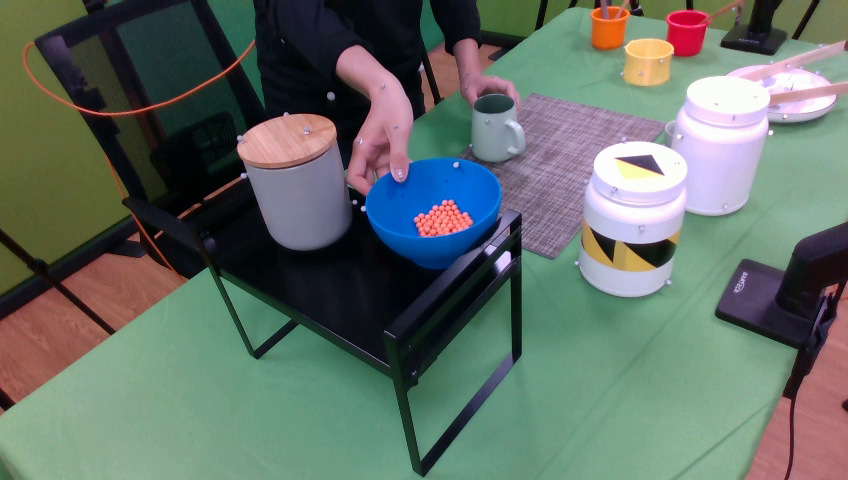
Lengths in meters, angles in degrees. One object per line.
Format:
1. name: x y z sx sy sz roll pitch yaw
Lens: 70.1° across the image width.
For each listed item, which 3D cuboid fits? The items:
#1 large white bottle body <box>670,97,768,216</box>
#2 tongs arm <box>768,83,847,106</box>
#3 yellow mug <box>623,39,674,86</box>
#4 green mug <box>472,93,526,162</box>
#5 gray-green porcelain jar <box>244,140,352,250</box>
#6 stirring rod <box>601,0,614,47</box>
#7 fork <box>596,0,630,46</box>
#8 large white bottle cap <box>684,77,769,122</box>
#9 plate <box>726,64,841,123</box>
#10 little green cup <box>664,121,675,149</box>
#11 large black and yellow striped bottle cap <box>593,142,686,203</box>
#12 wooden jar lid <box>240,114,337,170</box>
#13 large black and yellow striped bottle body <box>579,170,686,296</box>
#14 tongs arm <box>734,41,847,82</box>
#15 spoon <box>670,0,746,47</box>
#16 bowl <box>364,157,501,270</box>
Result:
1. large white bottle body: 0.458 -0.146 0.952 0.130 0.185 0.130 -4 40 4
2. tongs arm: 0.738 -0.282 1.134 0.388 0.028 0.028 -9 47 -5
3. yellow mug: 0.485 -0.398 1.334 0.100 0.064 0.130 -18 41 -10
4. green mug: 0.144 -0.202 1.122 0.093 0.105 0.124 -29 45 -23
5. gray-green porcelain jar: -0.144 -0.060 0.714 0.106 0.127 0.105 -4 41 4
6. stirring rod: 0.439 -0.552 1.463 0.014 0.006 0.175 -7 83 3
7. fork: 0.481 -0.556 1.453 0.028 0.019 0.207 40 103 38
8. large white bottle cap: 0.448 -0.209 0.898 0.115 0.018 0.114 -4 40 4
9. plate: 0.695 -0.282 1.189 0.207 0.039 0.206 -4 40 4
10. little green cup: 0.472 -0.188 1.113 0.061 0.039 0.061 -5 40 4
11. large black and yellow striped bottle cap: 0.280 -0.090 0.786 0.115 0.019 0.114 -5 41 5
12. wooden jar lid: -0.149 -0.106 0.673 0.108 0.021 0.108 -6 39 5
13. large black and yellow striped bottle body: 0.287 -0.027 0.842 0.131 0.185 0.130 -4 41 4
14. tongs arm: 0.712 -0.332 1.194 0.386 0.026 0.050 -18 45 -16
15. spoon: 0.629 -0.485 1.350 0.022 0.193 0.042 48 54 -7
16. bowl: 0.013 -0.020 0.680 0.151 0.077 0.150 -5 40 4
